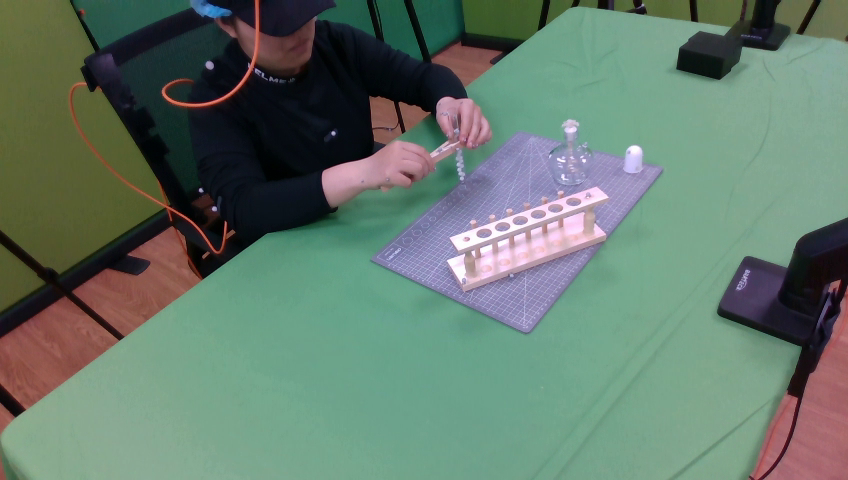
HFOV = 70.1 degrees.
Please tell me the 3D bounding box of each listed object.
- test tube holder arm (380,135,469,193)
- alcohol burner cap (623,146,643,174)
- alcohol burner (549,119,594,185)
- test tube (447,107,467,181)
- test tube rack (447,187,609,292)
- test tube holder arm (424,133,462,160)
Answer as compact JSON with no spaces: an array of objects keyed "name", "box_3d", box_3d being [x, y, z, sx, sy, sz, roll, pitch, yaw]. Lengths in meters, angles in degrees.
[{"name":"test tube holder arm","box_3d":[0.002,-0.129,1.019,0.179,0.015,0.013,-33,38,-17]},{"name":"alcohol burner cap","box_3d":[0.369,-0.142,1.061,0.034,0.048,0.033,-7,41,6]},{"name":"alcohol burner","box_3d":[0.254,-0.155,1.043,0.078,0.120,0.077,-7,40,6]},{"name":"test tube","box_3d":[0.058,-0.163,1.050,0.017,0.151,0.017,-7,43,7]},{"name":"test tube rack","box_3d":[0.155,-0.011,0.913,0.243,0.085,0.066,-19,41,-11]},{"name":"test tube holder arm","box_3d":[0.033,-0.156,1.039,0.010,0.015,0.088,22,53,41]}]
